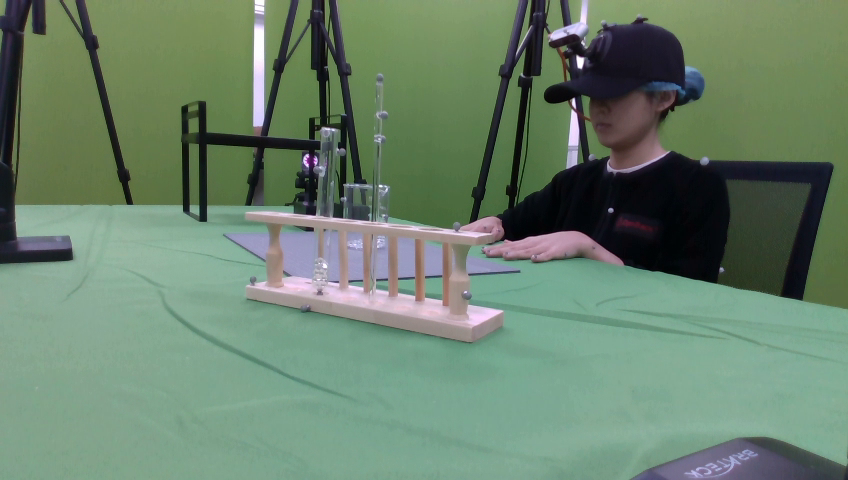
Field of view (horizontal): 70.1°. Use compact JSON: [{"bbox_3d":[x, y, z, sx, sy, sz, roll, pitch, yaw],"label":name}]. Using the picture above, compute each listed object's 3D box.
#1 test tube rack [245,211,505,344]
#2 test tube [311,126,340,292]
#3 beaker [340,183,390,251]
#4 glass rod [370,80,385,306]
[{"bbox_3d":[-0.049,0.025,0.547,0.241,0.085,0.067,7,8,29],"label":"test tube rack"},{"bbox_3d":[-0.089,-0.027,0.546,0.017,0.150,0.017,6,8,-1],"label":"test tube"},{"bbox_3d":[-0.090,-0.036,0.943,0.083,0.100,0.074,10,10,41],"label":"beaker"},{"bbox_3d":[-0.040,-0.039,0.530,0.008,0.199,0.008,2,2,0],"label":"glass rod"}]
